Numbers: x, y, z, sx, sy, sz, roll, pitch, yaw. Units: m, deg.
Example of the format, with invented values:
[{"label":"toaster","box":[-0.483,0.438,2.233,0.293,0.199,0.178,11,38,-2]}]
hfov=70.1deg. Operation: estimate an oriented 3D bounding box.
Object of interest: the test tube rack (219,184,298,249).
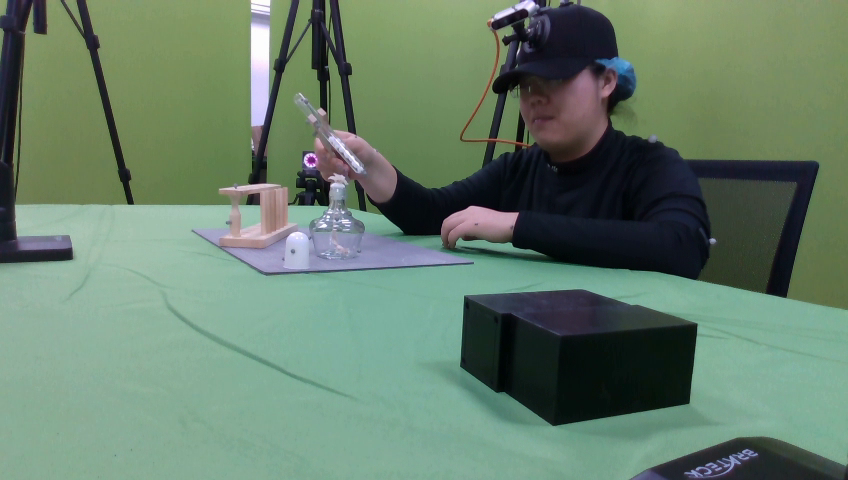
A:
[{"label":"test tube rack","box":[-0.266,-0.045,1.001,0.067,0.085,0.242,3,7,0]}]

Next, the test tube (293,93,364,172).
[{"label":"test tube","box":[-0.132,-0.148,0.835,0.150,0.017,0.017,49,23,14]}]

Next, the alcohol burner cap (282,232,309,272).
[{"label":"alcohol burner cap","box":[-0.157,0.014,0.740,0.034,0.048,0.034,3,6,0]}]

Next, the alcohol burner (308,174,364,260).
[{"label":"alcohol burner","box":[-0.121,-0.033,0.841,0.078,0.119,0.078,3,5,0]}]

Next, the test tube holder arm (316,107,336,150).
[{"label":"test tube holder arm","box":[-0.139,-0.155,0.861,0.010,0.015,0.088,-34,-23,-16]}]

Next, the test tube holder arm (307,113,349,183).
[{"label":"test tube holder arm","box":[-0.139,-0.133,0.900,0.013,0.015,0.179,-37,-23,-8]}]
